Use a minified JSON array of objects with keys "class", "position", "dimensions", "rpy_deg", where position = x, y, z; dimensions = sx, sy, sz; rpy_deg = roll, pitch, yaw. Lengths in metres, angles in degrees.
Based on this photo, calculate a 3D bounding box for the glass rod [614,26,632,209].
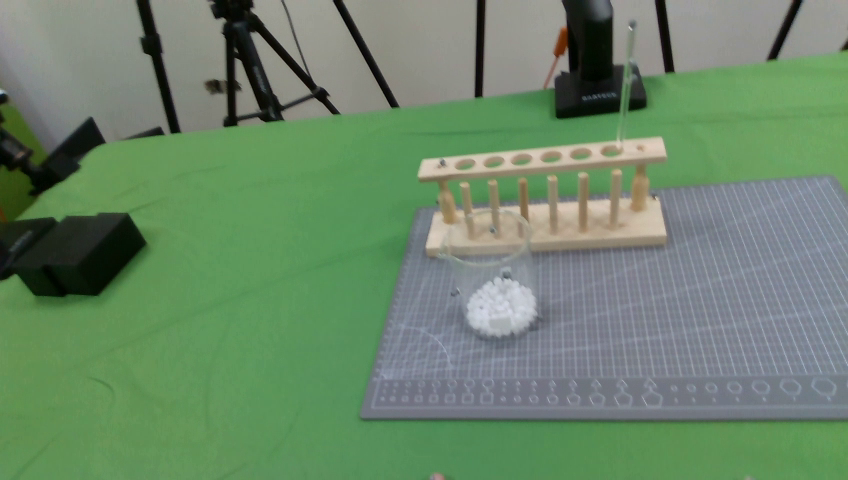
[{"class":"glass rod","position":[0.186,-0.104,0.571],"dimensions":[0.008,0.202,0.008],"rpy_deg":[-6,42,6]}]

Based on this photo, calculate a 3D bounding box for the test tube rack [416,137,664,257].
[{"class":"test tube rack","position":[0.116,-0.041,0.624],"dimensions":[0.242,0.086,0.066],"rpy_deg":[-3,39,14]}]

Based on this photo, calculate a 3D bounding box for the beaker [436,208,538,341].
[{"class":"beaker","position":[0.060,0.035,0.536],"dimensions":[0.084,0.101,0.073],"rpy_deg":[-16,38,-1]}]
